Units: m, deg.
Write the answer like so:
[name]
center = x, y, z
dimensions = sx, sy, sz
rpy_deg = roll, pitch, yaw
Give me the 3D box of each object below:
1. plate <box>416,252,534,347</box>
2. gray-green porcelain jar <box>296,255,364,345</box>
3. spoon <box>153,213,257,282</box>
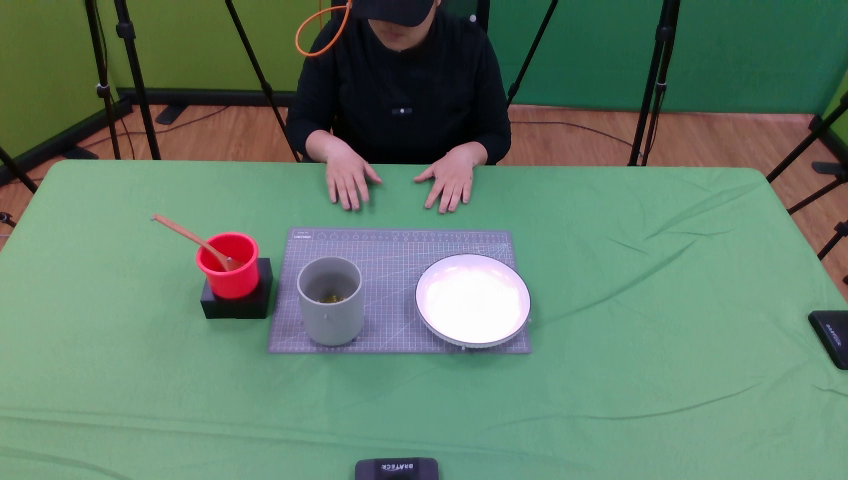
[plate]
center = 0.090, 0.109, 1.084
dimensions = 0.208, 0.039, 0.206
rpy_deg = 2, 46, -2
[gray-green porcelain jar]
center = -0.154, 0.105, 1.008
dimensions = 0.106, 0.127, 0.105
rpy_deg = 2, 46, -2
[spoon]
center = -0.360, 0.012, 1.005
dimensions = 0.195, 0.021, 0.041
rpy_deg = 41, 37, -26
